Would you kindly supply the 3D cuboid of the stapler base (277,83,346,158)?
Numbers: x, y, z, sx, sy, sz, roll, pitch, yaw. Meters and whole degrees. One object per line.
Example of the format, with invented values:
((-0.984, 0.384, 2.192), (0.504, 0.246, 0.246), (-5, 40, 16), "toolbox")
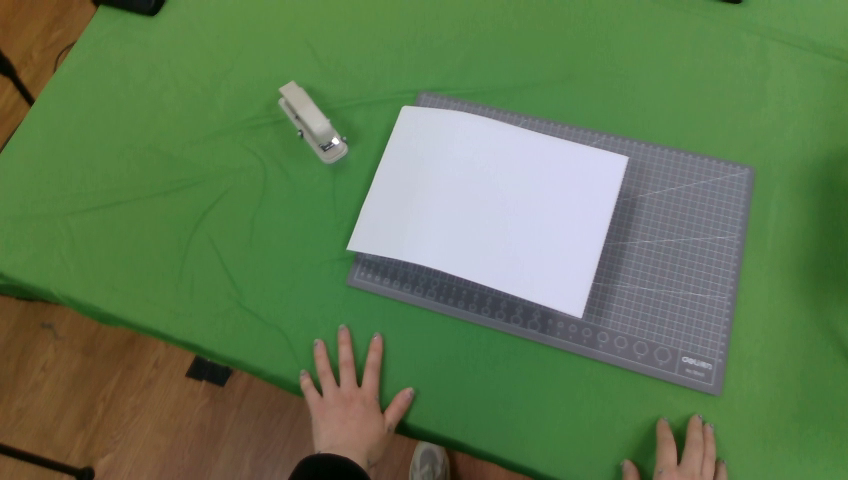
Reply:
((-0.155, -0.168, 0.826), (0.041, 0.024, 0.129), (-34, 69, -13), "stapler base")

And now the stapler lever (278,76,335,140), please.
((-0.158, -0.179, 0.804), (0.027, 0.040, 0.117), (-34, 69, -12), "stapler lever")
